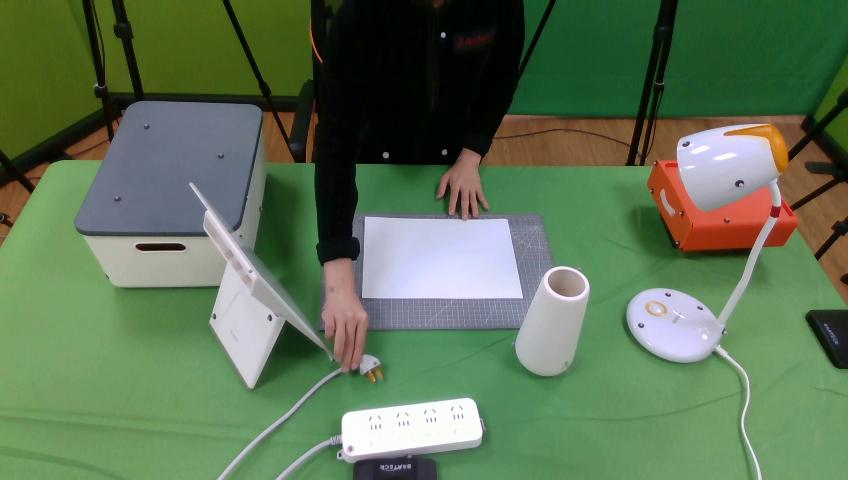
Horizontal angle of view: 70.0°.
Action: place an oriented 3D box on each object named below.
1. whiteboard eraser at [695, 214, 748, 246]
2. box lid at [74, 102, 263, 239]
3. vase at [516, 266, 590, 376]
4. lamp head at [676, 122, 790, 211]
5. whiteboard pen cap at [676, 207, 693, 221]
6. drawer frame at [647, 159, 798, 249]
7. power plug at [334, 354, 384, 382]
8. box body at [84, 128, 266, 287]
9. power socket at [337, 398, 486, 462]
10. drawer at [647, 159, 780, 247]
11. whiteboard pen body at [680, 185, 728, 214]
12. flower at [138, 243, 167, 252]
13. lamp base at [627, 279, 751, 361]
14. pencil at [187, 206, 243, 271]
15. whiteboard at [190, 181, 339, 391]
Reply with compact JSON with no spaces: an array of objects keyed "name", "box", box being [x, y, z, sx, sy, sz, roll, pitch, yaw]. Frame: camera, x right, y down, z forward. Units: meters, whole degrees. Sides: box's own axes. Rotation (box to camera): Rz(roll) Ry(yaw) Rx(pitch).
[{"name":"whiteboard eraser","box":[0.592,-0.019,1.209,0.113,0.042,0.055,12,27,-36]},{"name":"box lid","box":[-0.443,-0.138,1.094,0.263,0.015,0.369,0,46,-5]},{"name":"vase","box":[0.208,0.132,0.964,0.098,0.201,0.097,3,46,-3]},{"name":"lamp head","box":[0.423,-0.104,0.819,0.122,0.113,0.112,-13,33,40]},{"name":"whiteboard pen cap","box":[0.523,-0.053,1.216,0.033,0.018,0.018,-29,55,-23]},{"name":"drawer frame","box":[0.588,-0.077,1.219,0.214,0.083,0.200,-2,45,-5]},{"name":"power plug","box":[-0.101,0.215,0.988,0.072,0.035,0.052,-35,78,17]},{"name":"box body","box":[-0.447,-0.088,1.150,0.254,0.161,0.361,-1,46,-5]},{"name":"power socket","box":[-0.018,0.285,0.915,0.227,0.033,0.071,-4,46,-8]},{"name":"drawer","box":[0.582,-0.078,1.215,0.212,0.073,0.193,-1,46,-5]},{"name":"whiteboard pen body","box":[0.571,-0.081,1.239,0.141,0.017,0.017,-26,54,-22]},{"name":"flower","box":[-0.443,-0.043,1.194,0.044,0.038,0.361,46,47,-7]},{"name":"lamp base","box":[0.459,0.100,1.027,0.178,0.181,0.160,27,51,17]},{"name":"pencil","box":[-0.401,-0.008,1.176,0.012,0.012,0.193,15,44,10]},{"name":"whiteboard","box":[-0.292,0.096,0.929,0.144,0.307,0.216,-37,57,-10]}]
